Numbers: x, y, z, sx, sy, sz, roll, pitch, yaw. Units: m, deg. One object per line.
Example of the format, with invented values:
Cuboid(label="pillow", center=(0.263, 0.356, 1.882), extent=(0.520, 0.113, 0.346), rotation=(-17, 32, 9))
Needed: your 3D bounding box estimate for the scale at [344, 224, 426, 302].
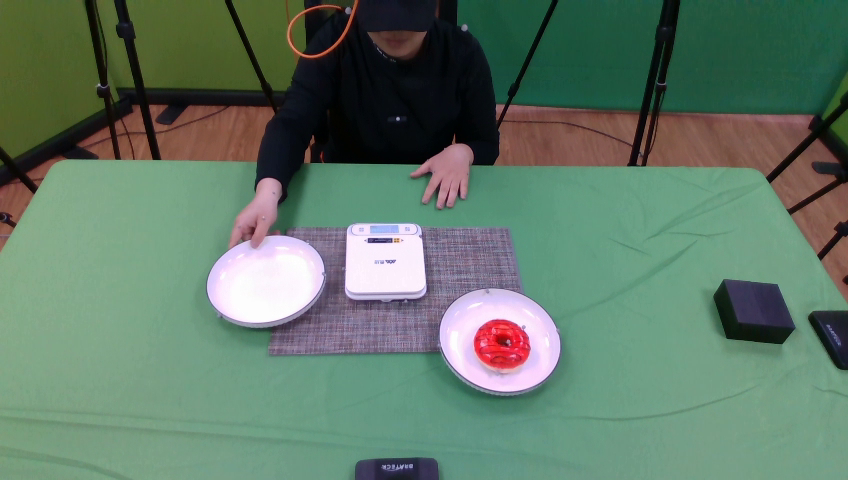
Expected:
Cuboid(label="scale", center=(-0.075, 0.033, 1.149), extent=(0.149, 0.032, 0.199), rotation=(0, 46, -5))

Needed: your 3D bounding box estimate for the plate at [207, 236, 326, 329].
Cuboid(label="plate", center=(-0.279, 0.079, 1.087), extent=(0.208, 0.039, 0.206), rotation=(1, 46, 0))

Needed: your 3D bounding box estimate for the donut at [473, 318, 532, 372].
Cuboid(label="donut", center=(0.131, 0.174, 1.010), extent=(0.099, 0.048, 0.098), rotation=(1, 48, -1))

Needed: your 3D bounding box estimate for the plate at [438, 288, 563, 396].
Cuboid(label="plate", center=(0.127, 0.173, 1.025), extent=(0.209, 0.038, 0.208), rotation=(3, 48, -3))
